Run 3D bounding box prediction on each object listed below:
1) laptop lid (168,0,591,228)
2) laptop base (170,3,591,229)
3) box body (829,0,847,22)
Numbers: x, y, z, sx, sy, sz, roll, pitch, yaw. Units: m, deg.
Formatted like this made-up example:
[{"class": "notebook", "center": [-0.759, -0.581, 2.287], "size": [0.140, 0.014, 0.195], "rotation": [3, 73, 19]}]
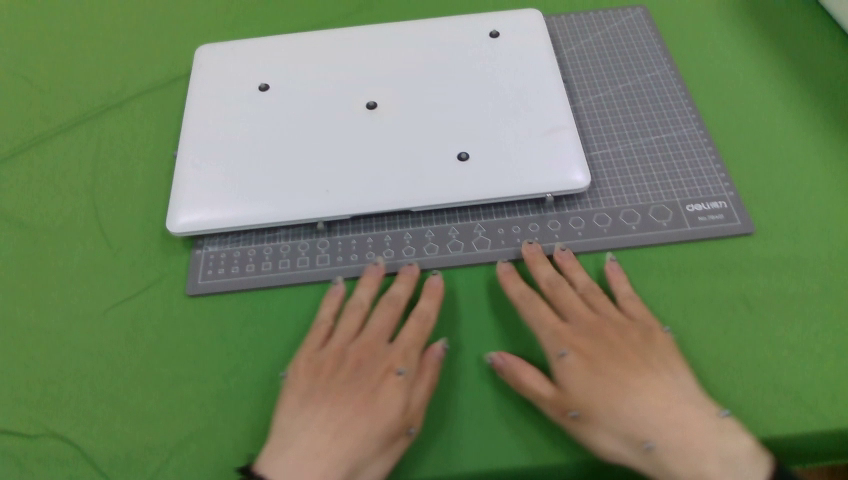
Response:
[{"class": "laptop lid", "center": [-0.046, -0.126, 0.551], "size": [0.357, 0.013, 0.239], "rotation": [-5, 58, 1]}, {"class": "laptop base", "center": [-0.045, -0.121, 0.563], "size": [0.354, 0.023, 0.233], "rotation": [-6, 60, 0]}, {"class": "box body", "center": [0.529, -0.243, 0.513], "size": [0.254, 0.162, 0.360], "rotation": [-10, 56, -3]}]
